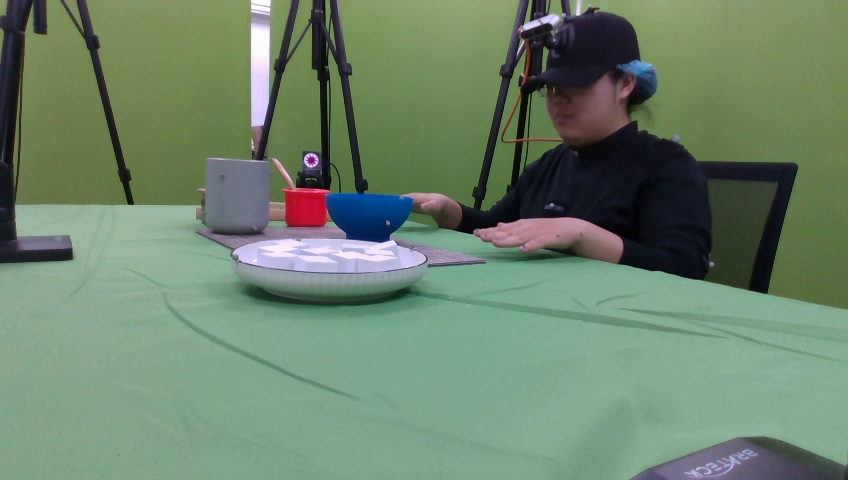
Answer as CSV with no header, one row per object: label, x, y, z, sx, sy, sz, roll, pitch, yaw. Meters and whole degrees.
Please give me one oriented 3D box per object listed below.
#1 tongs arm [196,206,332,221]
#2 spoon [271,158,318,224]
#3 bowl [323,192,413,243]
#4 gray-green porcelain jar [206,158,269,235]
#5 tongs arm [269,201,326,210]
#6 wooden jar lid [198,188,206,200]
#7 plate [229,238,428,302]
tongs arm,-0.294,-0.058,1.330,0.389,0.028,0.028,0,5,-20
spoon,-0.268,-0.103,1.236,0.042,0.021,0.193,-9,58,-40
bowl,-0.094,-0.037,1.015,0.151,0.077,0.151,2,7,0
gray-green porcelain jar,-0.322,-0.076,1.048,0.106,0.126,0.106,3,7,0
tongs arm,-0.308,-0.073,1.410,0.386,0.026,0.050,3,8,-6
wooden jar lid,-0.382,-0.088,1.175,0.108,0.020,0.108,3,8,0
plate,-0.099,0.032,0.651,0.209,0.038,0.209,3,8,0
